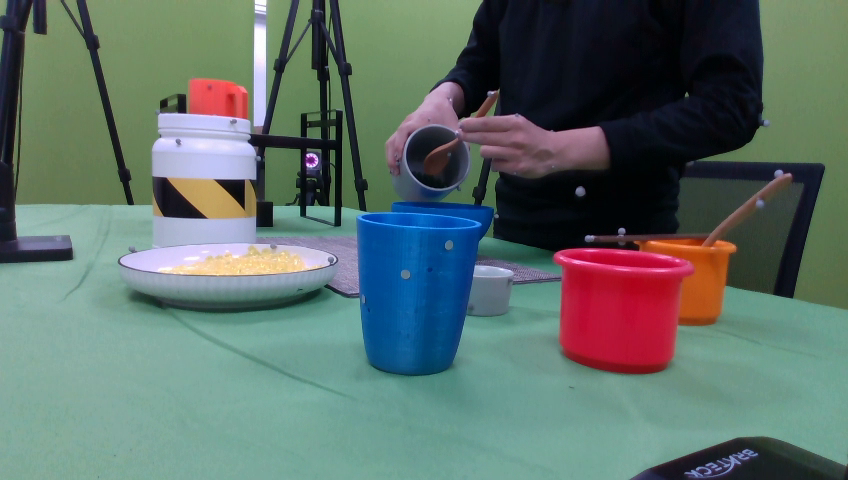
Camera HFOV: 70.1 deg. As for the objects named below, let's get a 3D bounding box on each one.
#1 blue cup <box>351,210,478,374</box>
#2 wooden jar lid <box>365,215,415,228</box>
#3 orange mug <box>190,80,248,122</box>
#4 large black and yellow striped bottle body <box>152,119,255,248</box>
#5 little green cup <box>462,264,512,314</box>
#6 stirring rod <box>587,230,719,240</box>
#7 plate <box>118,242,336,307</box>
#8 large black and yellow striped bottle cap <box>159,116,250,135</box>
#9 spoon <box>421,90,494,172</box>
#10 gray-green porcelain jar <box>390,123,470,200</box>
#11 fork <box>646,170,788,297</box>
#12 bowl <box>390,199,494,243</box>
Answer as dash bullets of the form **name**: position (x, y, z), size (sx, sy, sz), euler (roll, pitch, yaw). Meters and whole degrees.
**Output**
- **blue cup**: position (-0.009, 0.034, 0.414), size (0.093, 0.100, 0.092), euler (4, 8, 0)
- **wooden jar lid**: position (-0.073, -0.040, 1.291), size (0.108, 0.020, 0.108), euler (3, 8, 0)
- **orange mug**: position (-0.394, -0.257, 1.172), size (0.126, 0.100, 0.084), euler (1, 6, 25)
- **large black and yellow striped bottle body**: position (-0.296, -0.070, 0.819), size (0.131, 0.184, 0.130), euler (2, 7, 0)
- **little green cup**: position (0.053, 0.047, 0.580), size (0.061, 0.038, 0.061), euler (3, 8, 0)
- **stirring rod**: position (0.226, -0.005, 0.587), size (0.177, 0.006, 0.014), euler (-2, 9, -29)
- **plate**: position (-0.194, 0.033, 0.615), size (0.209, 0.038, 0.209), euler (2, 7, 0)
- **large black and yellow striped bottle cap**: position (-0.292, -0.153, 0.810), size (0.115, 0.019, 0.115), euler (3, 8, 0)
- **spoon**: position (0.049, -0.152, 0.866), size (0.042, 0.021, 0.193), euler (0, -22, -30)
- **gray-green porcelain jar**: position (0.005, -0.115, 0.960), size (0.106, 0.105, 0.126), euler (0, -9, -14)
- **fork**: position (0.256, 0.004, 0.543), size (0.028, 0.018, 0.207), euler (3, -36, -9)
- **bowl**: position (0.024, -0.015, 0.871), size (0.151, 0.077, 0.151), euler (3, 7, 0)
